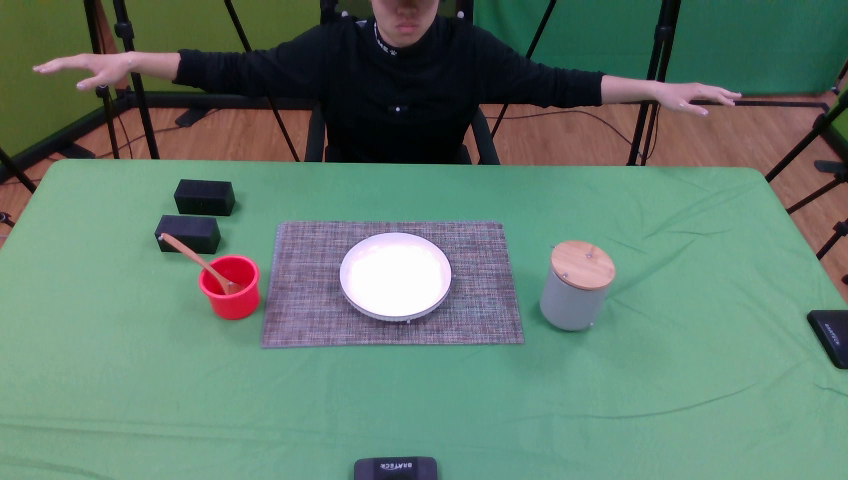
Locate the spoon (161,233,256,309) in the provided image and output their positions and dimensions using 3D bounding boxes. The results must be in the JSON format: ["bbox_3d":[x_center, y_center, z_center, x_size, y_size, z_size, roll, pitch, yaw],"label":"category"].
[{"bbox_3d":[-0.366,0.051,1.036,0.194,0.021,0.041,47,45,-21],"label":"spoon"}]

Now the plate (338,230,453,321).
[{"bbox_3d":[-0.052,0.068,1.111,0.208,0.039,0.206,2,46,-2],"label":"plate"}]

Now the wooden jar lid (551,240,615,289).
[{"bbox_3d":[0.263,0.044,1.011,0.108,0.021,0.107,4,45,-4],"label":"wooden jar lid"}]

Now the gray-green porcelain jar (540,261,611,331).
[{"bbox_3d":[0.262,0.088,1.058,0.106,0.127,0.105,2,46,-2],"label":"gray-green porcelain jar"}]
